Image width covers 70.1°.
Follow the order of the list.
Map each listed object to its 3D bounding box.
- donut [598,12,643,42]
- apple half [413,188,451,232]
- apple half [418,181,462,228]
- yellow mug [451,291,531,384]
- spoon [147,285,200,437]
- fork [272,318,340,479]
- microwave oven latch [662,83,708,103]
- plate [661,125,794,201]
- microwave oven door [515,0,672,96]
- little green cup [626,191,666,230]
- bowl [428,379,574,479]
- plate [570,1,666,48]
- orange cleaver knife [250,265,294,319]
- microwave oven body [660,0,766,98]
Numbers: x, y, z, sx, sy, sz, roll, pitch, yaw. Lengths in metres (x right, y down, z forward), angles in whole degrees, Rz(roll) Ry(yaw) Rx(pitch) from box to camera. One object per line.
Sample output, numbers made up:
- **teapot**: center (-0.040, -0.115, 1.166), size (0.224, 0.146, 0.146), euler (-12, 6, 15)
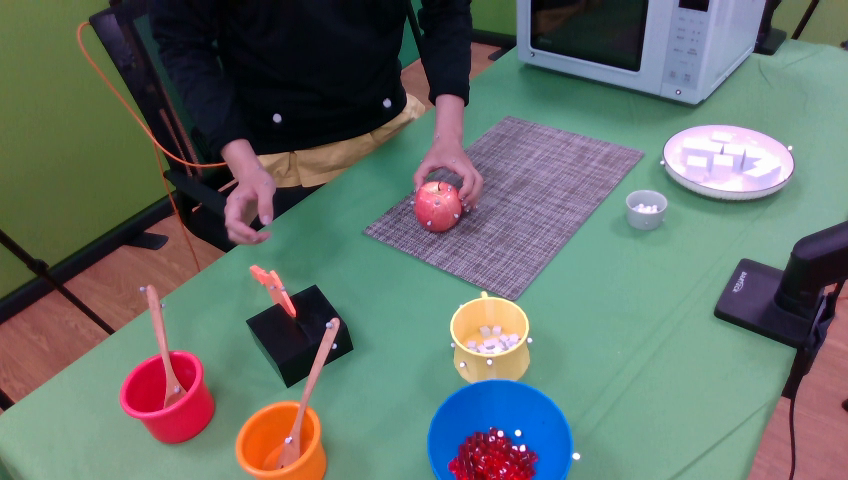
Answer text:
- **donut**: center (0.437, -0.475, 1.346), size (0.099, 0.048, 0.098), euler (-16, 25, 8)
- **apple half**: center (0.006, -0.041, 0.975), size (0.080, 0.081, 0.033), euler (28, 48, 34)
- **apple half**: center (0.032, -0.061, 0.997), size (0.080, 0.075, 0.053), euler (25, 45, 37)
- **yellow mug**: center (0.085, 0.120, 0.786), size (0.100, 0.064, 0.130), euler (-7, 39, 1)
- **spoon**: center (-0.318, 0.148, 0.754), size (0.042, 0.021, 0.193), euler (-15, 85, -11)
- **fork**: center (-0.131, 0.186, 0.676), size (0.028, 0.019, 0.207), euler (18, 90, 28)
- **microwave oven latch**: center (0.518, -0.296, 1.204), size (0.078, 0.029, 0.030), euler (27, 52, 35)
- **plate**: center (0.513, -0.128, 1.035), size (0.207, 0.039, 0.206), euler (-4, 40, 4)
- **microwave oven door**: center (0.344, -0.455, 1.260), size (0.353, 0.245, 0.039), euler (26, 51, 33)
- **little green cup**: center (0.352, -0.046, 0.963), size (0.061, 0.039, 0.061), euler (-4, 40, 4)
- **bowl**: center (0.082, 0.233, 0.644), size (0.151, 0.077, 0.150), euler (-4, 39, 4)
- **plate**: center (0.437, -0.485, 1.370), size (0.209, 0.038, 0.208), euler (-4, 41, 4)
- **orange cleaver knife**: center (-0.221, 0.073, 0.876), size (0.012, 0.077, 0.210), euler (-24, 12, -22)
- **microwave oven body**: center (0.472, -0.514, 1.317), size (0.438, 0.261, 0.327), euler (26, 51, 34)
